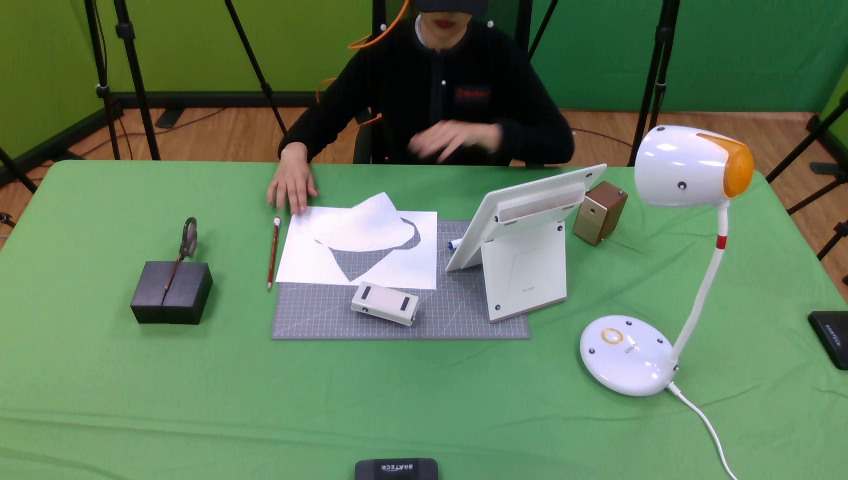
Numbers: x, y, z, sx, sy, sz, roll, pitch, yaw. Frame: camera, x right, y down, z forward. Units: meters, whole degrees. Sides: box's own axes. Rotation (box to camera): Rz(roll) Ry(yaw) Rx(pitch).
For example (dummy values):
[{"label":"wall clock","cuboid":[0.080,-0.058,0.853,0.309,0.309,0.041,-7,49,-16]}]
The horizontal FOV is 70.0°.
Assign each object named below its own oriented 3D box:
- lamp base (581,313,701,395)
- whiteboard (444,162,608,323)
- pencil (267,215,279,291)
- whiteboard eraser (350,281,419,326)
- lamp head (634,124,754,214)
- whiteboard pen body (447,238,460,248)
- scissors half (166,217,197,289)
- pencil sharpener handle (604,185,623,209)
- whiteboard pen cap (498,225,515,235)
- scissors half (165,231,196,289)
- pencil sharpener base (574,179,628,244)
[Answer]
[{"label":"lamp base","cuboid":[0.361,0.144,0.973,0.178,0.181,0.160,34,53,23]},{"label":"whiteboard","cuboid":[0.186,0.025,1.029,0.217,0.306,0.143,-14,68,-18]},{"label":"pencil","cuboid":[-0.291,0.022,1.164,0.012,0.012,0.192,-2,48,-6]},{"label":"whiteboard eraser","cuboid":[-0.069,0.113,1.065,0.112,0.042,0.055,14,46,9]},{"label":"lamp head","cuboid":[0.351,-0.089,0.775,0.112,0.113,0.122,-30,30,-28]},{"label":"whiteboard pen body","cuboid":[0.112,-0.005,1.204,0.141,0.017,0.017,-13,49,-18]},{"label":"scissors half","cuboid":[-0.436,0.020,1.086,0.013,0.040,0.174,7,47,-7]},{"label":"pencil sharpener handle","cuboid":[0.390,-0.091,1.235,0.030,0.068,0.036,-33,69,-31]},{"label":"whiteboard pen cap","cuboid":[0.166,-0.019,1.222,0.033,0.018,0.018,-14,49,-19]},{"label":"scissors half","cuboid":[-0.441,0.036,1.098,0.013,0.040,0.174,12,28,-10]},{"label":"pencil sharpener base","cuboid":[0.355,-0.057,1.217,0.076,0.107,0.061,-33,56,-31]}]
